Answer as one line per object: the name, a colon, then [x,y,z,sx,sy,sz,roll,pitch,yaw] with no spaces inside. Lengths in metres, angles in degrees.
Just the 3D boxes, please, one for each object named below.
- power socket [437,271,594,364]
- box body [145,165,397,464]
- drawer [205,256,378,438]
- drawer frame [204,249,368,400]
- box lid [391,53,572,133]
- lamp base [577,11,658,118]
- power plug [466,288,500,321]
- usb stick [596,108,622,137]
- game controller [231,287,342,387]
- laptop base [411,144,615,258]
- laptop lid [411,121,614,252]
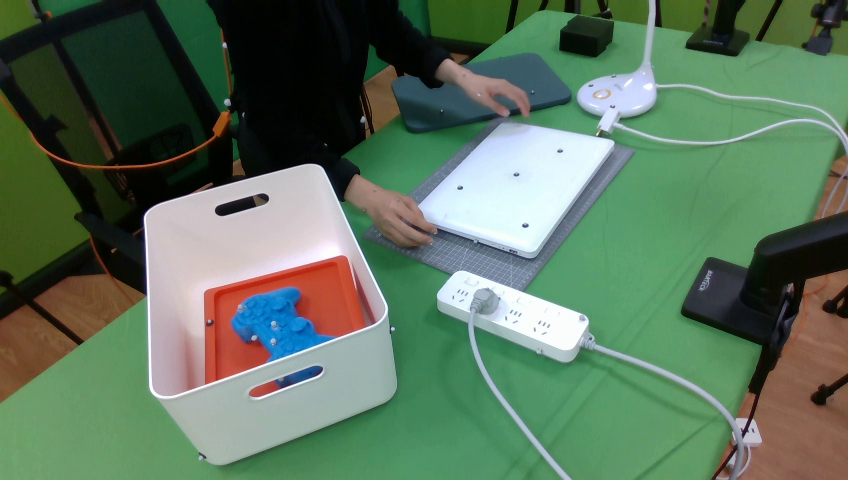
power socket: [0.118,0.102,0.830,0.225,0.033,0.072,20,48,28]
box body: [-0.205,0.080,0.802,0.255,0.161,0.361,-18,41,-13]
drawer: [-0.177,0.130,0.787,0.195,0.073,0.210,-14,39,-10]
drawer frame: [-0.173,0.129,0.791,0.202,0.083,0.212,-16,45,-8]
box lid: [0.122,-0.339,1.366,0.372,0.015,0.261,-12,40,-5]
lamp base: [0.406,-0.363,1.222,0.180,0.181,0.159,-20,42,-18]
power plug: [0.072,0.093,0.813,0.035,0.053,0.073,30,55,35]
usb stick: [0.354,-0.223,1.168,0.027,0.059,0.022,37,13,34]
game controller: [-0.167,0.110,0.734,0.097,0.052,0.154,-35,47,-22]
laptop base: [0.167,-0.102,1.074,0.234,0.023,0.355,16,45,30]
laptop lid: [0.164,-0.112,1.068,0.240,0.013,0.357,19,46,30]
